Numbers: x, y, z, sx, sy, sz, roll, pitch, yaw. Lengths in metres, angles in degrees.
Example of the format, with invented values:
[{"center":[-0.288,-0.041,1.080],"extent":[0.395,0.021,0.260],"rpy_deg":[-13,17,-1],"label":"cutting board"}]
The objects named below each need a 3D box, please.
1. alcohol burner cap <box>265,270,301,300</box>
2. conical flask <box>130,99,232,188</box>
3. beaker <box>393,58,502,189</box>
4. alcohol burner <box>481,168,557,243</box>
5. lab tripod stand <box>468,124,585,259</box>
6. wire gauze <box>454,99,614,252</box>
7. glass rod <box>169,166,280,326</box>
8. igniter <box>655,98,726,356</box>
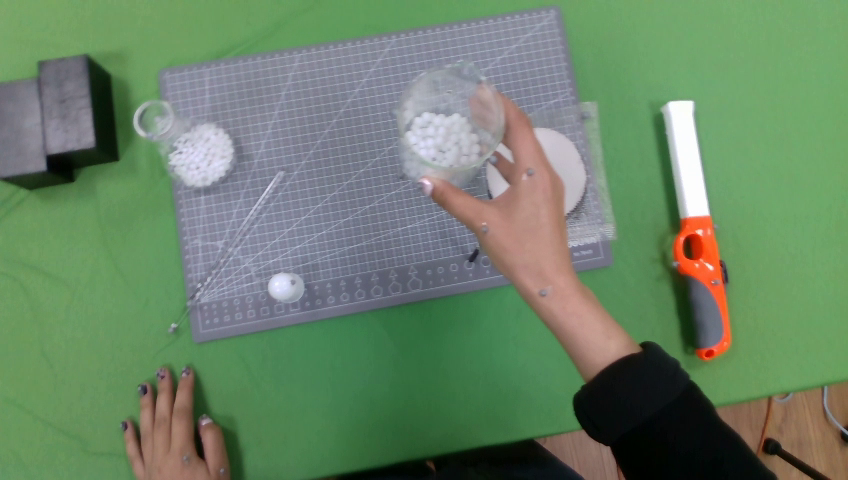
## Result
[{"center":[-0.146,0.045,0.620],"extent":[0.034,0.048,0.034],"rpy_deg":[0,83,-2],"label":"alcohol burner cap"},{"center":[-0.242,-0.099,0.594],"extent":[0.075,0.122,0.075],"rpy_deg":[0,82,-1],"label":"conical flask"},{"center":[0.014,-0.082,0.460],"extent":[0.074,0.100,0.084],"rpy_deg":[17,84,-2],"label":"beaker"},{"center":[0.096,-0.037,0.599],"extent":[0.078,0.119,0.077],"rpy_deg":[0,83,1],"label":"alcohol burner"},{"center":[0.094,-0.045,0.590],"extent":[0.148,0.131,0.148],"rpy_deg":[0,85,-1],"label":"lab tripod stand"},{"center":[0.095,-0.055,0.524],"extent":[0.125,0.011,0.121],"rpy_deg":[-8,85,-2],"label":"wire gauze"},{"center":[-0.209,0.004,0.639],"extent":[0.008,0.008,0.199],"rpy_deg":[32,84,3],"label":"glass rod"},{"center":[0.284,-0.017,0.648],"extent":[0.057,0.025,0.275],"rpy_deg":[-5,83,-13],"label":"igniter"}]
